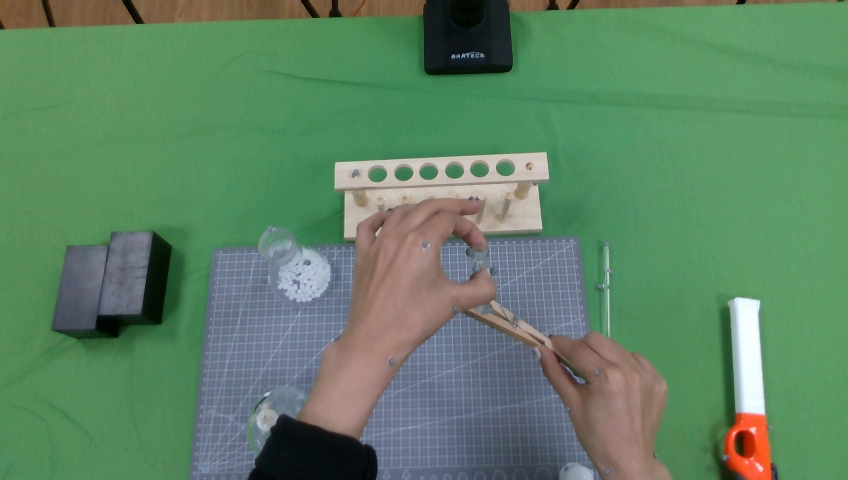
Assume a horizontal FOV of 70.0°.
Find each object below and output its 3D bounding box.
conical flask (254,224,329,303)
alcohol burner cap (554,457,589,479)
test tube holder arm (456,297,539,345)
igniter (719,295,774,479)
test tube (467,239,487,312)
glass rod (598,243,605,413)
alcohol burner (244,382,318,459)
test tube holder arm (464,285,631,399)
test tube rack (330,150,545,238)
[{"bbox_3d":[-0.153,0.021,0.674,0.075,0.122,0.075,0,70,2],"label":"conical flask"},{"bbox_3d":[0.156,0.243,0.632,0.034,0.048,0.033,0,69,1],"label":"alcohol burner cap"},{"bbox_3d":[0.071,0.078,0.580,0.087,0.015,0.010,23,71,19],"label":"test tube holder arm"},{"bbox_3d":[0.346,0.195,0.655,0.057,0.025,0.275,9,71,-6],"label":"igniter"},{"bbox_3d":[0.047,0.036,0.533,0.017,0.151,0.017,-2,65,4],"label":"test tube"},{"bbox_3d":[0.206,0.098,0.701,0.008,0.008,0.198,5,73,3],"label":"glass rod"},{"bbox_3d":[-0.151,0.184,0.623,0.078,0.120,0.077,-1,69,3],"label":"alcohol burner"},{"bbox_3d":[0.111,0.093,0.566,0.177,0.015,0.013,31,75,21],"label":"test tube holder arm"},{"bbox_3d":[0.016,-0.052,0.719,0.242,0.086,0.066,-2,70,1],"label":"test tube rack"}]
